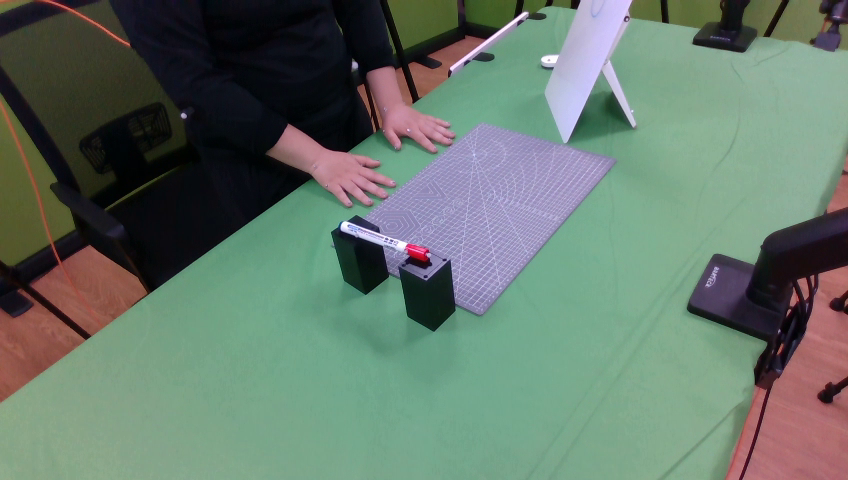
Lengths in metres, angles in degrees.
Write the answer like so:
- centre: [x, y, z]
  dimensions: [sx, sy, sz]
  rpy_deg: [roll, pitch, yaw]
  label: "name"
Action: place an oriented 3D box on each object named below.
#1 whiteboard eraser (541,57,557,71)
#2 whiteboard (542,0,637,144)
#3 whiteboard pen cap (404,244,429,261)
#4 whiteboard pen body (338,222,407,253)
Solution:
- centre: [0.323, -0.412, 1.407]
  dimensions: [0.101, 0.019, 0.041]
  rpy_deg: [1, 42, 11]
  label: "whiteboard eraser"
- centre: [0.366, -0.351, 1.160]
  dimensions: [0.144, 0.305, 0.216]
  rpy_deg: [10, 39, -10]
  label: "whiteboard"
- centre: [-0.010, 0.015, 0.801]
  dimensions: [0.032, 0.017, 0.017]
  rpy_deg: [18, 46, 28]
  label: "whiteboard pen cap"
- centre: [-0.061, -0.001, 0.828]
  dimensions: [0.139, 0.017, 0.017]
  rpy_deg: [18, 46, 28]
  label: "whiteboard pen body"
